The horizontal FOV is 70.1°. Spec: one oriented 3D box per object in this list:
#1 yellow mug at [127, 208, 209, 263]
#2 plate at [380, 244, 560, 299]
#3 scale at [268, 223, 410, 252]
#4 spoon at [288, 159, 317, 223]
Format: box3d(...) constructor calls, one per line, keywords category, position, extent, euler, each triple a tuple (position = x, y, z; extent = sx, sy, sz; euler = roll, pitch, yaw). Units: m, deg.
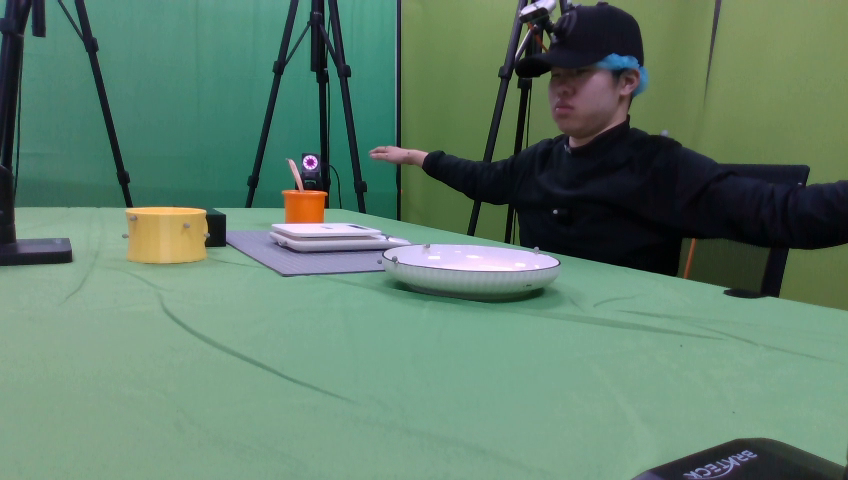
box3d(category="yellow mug", position=(-0.339, -0.009, 0.827), extent=(0.100, 0.064, 0.131), euler=(5, 7, 17))
box3d(category="plate", position=(0.053, 0.036, 0.708), extent=(0.209, 0.038, 0.209), euler=(2, 7, 0))
box3d(category="scale", position=(-0.137, -0.006, 0.980), extent=(0.202, 0.031, 0.148), euler=(-1, 8, -30))
box3d(category="spoon", position=(-0.259, -0.103, 1.268), extent=(0.042, 0.193, 0.021), euler=(3, -39, -33))
